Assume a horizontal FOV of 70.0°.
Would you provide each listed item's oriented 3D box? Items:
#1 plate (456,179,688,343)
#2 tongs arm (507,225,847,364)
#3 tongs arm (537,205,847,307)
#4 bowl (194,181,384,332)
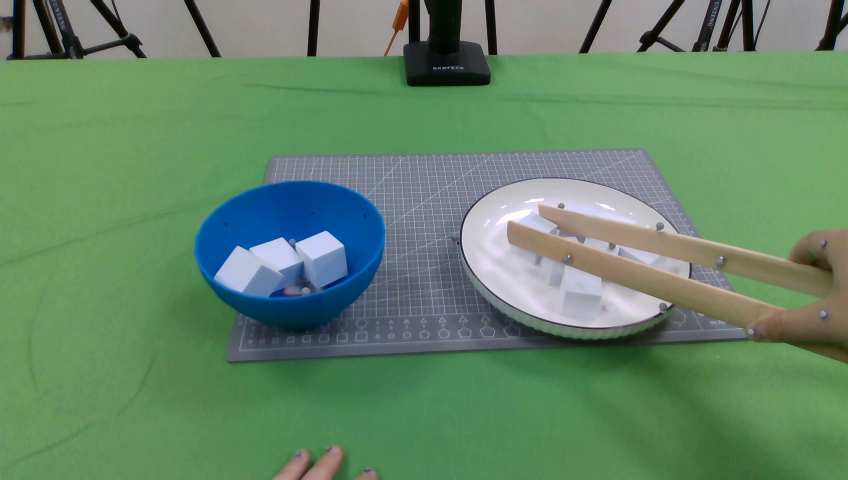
[{"bbox_3d":[0.132,0.018,0.560,0.208,0.039,0.205,1,41,-1],"label":"plate"},{"bbox_3d":[0.215,0.043,0.423,0.384,0.028,0.028,19,36,41],"label":"tongs arm"},{"bbox_3d":[0.235,0.030,0.439,0.381,0.027,0.051,17,38,39],"label":"tongs arm"},{"bbox_3d":[-0.108,0.024,0.512,0.151,0.077,0.150,1,41,-1],"label":"bowl"}]
